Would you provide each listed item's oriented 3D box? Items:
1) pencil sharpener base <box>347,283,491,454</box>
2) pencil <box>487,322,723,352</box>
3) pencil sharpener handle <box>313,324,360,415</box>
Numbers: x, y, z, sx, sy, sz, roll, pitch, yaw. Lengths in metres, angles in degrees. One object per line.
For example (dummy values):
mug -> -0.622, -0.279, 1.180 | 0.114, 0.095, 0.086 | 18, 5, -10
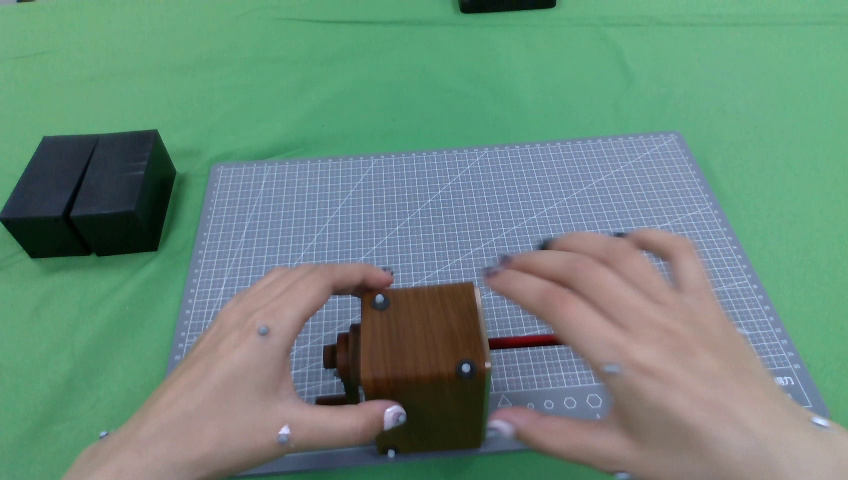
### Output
pencil sharpener base -> -0.003, 0.082, 0.370 | 0.077, 0.108, 0.060 | -4, 50, -1
pencil -> 0.077, 0.059, 0.352 | 0.194, 0.012, 0.012 | -4, 49, -1
pencil sharpener handle -> -0.054, 0.080, 0.357 | 0.030, 0.068, 0.035 | -4, 37, -1
